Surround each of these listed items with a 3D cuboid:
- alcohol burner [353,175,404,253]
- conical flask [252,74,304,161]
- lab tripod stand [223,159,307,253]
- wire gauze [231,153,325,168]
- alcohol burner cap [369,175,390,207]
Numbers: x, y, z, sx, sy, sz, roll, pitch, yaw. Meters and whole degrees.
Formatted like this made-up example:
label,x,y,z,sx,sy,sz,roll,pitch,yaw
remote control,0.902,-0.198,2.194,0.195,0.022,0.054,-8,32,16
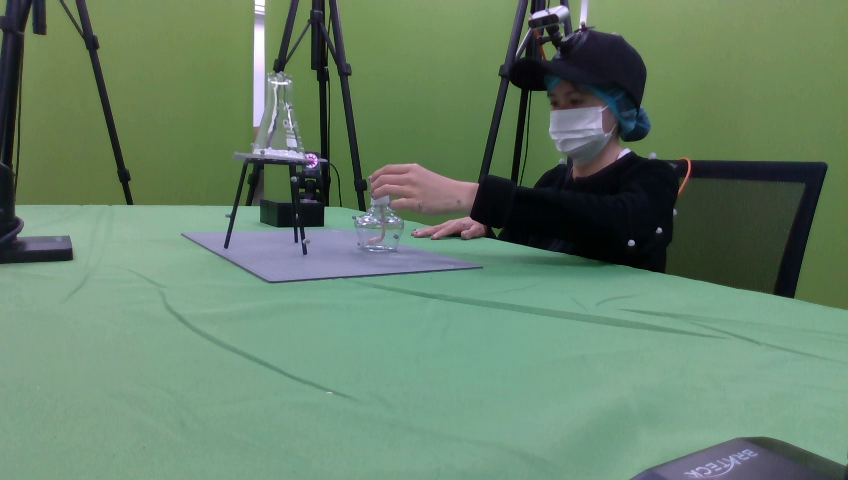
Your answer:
label,x,y,z,sx,sy,sz,roll,pitch,yaw
alcohol burner,-0.070,-0.040,0.927,0.078,0.119,0.078,1,9,0
conical flask,-0.211,-0.177,0.879,0.075,0.122,0.075,3,6,0
lab tripod stand,-0.220,-0.053,0.896,0.148,0.131,0.148,1,6,0
wire gauze,-0.215,-0.117,0.882,0.125,0.011,0.121,3,7,-19
alcohol burner cap,-0.068,-0.075,0.923,0.034,0.048,0.034,-1,8,0
